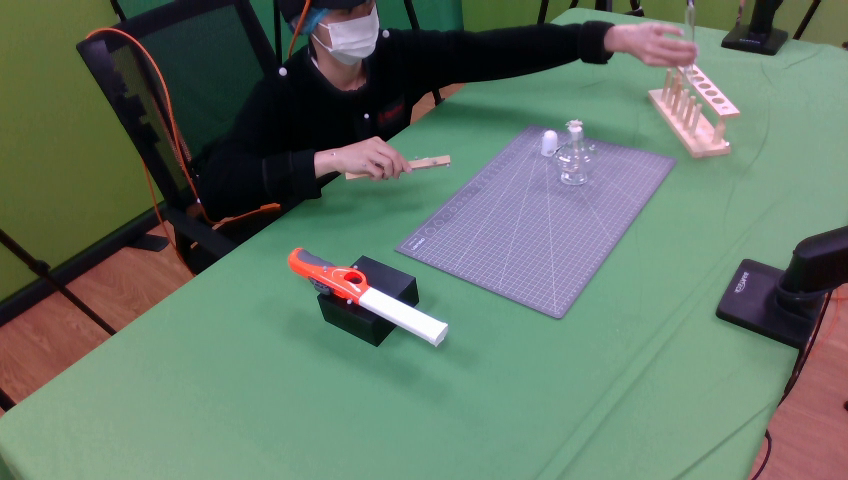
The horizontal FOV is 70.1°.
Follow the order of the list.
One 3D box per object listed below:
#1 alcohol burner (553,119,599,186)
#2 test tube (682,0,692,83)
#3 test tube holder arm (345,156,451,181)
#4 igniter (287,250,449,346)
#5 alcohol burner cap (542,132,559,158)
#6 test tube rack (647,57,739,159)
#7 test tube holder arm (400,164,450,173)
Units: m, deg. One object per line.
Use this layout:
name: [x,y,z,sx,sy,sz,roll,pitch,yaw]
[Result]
alcohol burner: [0.261,-0.153,1.042,0.078,0.119,0.077,-6,40,6]
test tube: [0.460,-0.345,1.057,0.017,0.151,0.017,-12,39,10]
test tube holder arm: [-0.043,-0.120,1.017,0.179,0.013,0.015,-10,78,-4]
igniter: [-0.087,0.073,0.825,0.274,0.025,0.057,23,48,27]
alcohol burner cap: [0.238,-0.180,1.134,0.034,0.048,0.033,-5,41,5]
test tube rack: [0.504,-0.257,1.153,0.067,0.085,0.241,-7,40,1]
test tube holder arm: [0.001,-0.127,1.026,0.088,0.010,0.015,-10,78,-5]
